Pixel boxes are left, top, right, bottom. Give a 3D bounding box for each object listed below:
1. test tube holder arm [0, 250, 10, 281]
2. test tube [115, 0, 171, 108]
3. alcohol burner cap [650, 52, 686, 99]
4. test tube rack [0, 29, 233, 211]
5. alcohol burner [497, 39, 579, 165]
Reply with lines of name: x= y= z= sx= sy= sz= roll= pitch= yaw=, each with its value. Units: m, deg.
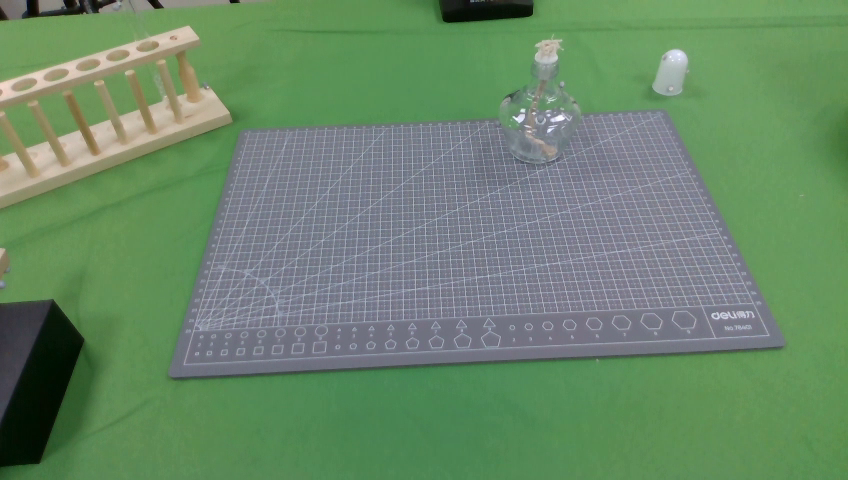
test tube holder arm: x=-0.311 y=0.076 z=0.393 sx=0.013 sy=0.015 sz=0.176 roll=1 pitch=47 yaw=-8
test tube: x=-0.280 y=-0.198 z=0.601 sx=0.017 sy=0.152 sz=0.017 roll=-4 pitch=44 yaw=4
alcohol burner cap: x=0.268 y=-0.181 z=0.660 sx=0.034 sy=0.048 sz=0.033 roll=-2 pitch=46 yaw=2
test tube rack: x=-0.327 y=-0.122 z=0.600 sx=0.242 sy=0.086 sz=0.066 roll=-27 pitch=51 yaw=-21
alcohol burner: x=0.108 y=-0.130 z=0.566 sx=0.078 sy=0.120 sz=0.077 roll=-1 pitch=45 yaw=1
